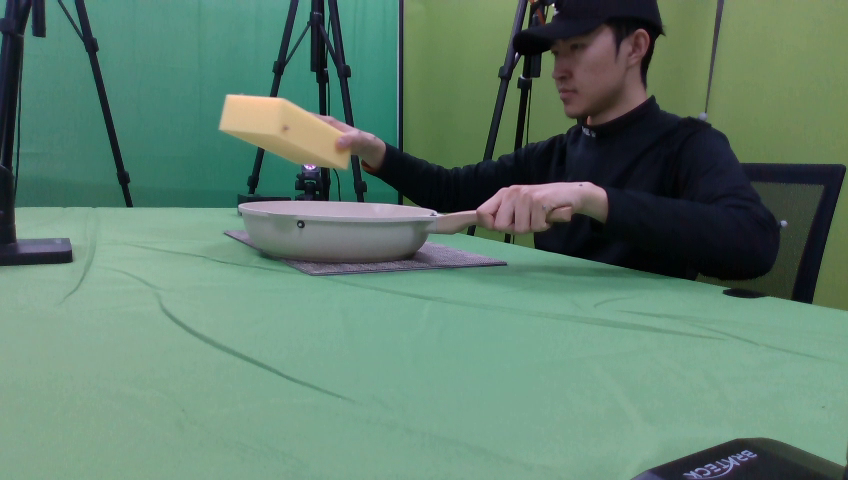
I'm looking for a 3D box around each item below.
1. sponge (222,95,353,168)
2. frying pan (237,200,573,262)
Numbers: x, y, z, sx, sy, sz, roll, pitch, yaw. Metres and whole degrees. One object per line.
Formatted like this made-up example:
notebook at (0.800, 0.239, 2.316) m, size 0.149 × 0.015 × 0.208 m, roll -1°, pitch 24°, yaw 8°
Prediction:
sponge at (-0.227, -0.182, 1.038) m, size 0.118 × 0.061 × 0.208 m, roll 10°, pitch -4°, yaw 25°
frying pan at (-0.033, -0.026, 0.867) m, size 0.486 × 0.102 × 0.308 m, roll -4°, pitch 5°, yaw 24°
